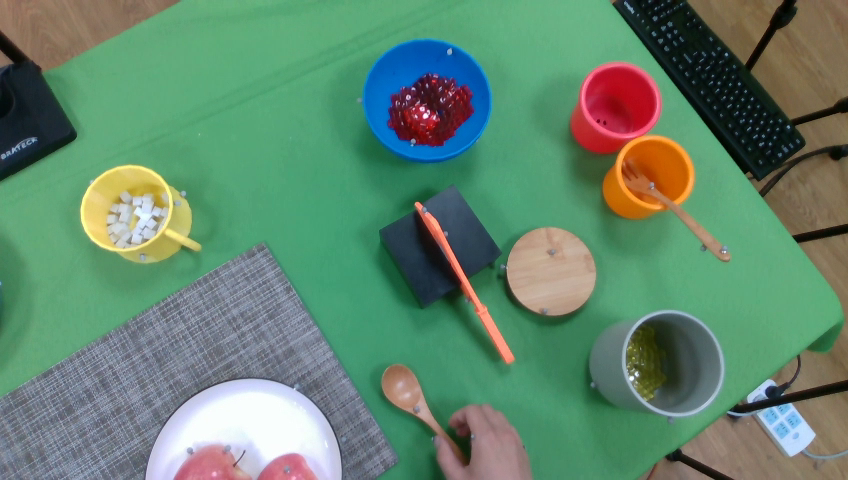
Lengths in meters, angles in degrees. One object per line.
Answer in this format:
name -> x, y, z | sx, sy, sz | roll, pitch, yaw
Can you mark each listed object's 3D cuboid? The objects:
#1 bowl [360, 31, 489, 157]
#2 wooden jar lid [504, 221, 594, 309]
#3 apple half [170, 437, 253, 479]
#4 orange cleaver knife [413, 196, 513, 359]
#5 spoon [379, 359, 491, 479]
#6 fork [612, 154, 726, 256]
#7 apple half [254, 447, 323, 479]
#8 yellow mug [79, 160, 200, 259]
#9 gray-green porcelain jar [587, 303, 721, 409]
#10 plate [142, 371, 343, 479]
bowl -> -0.001, -0.162, 0.730 | 0.151, 0.077, 0.150 | 1, 79, -3
wooden jar lid -> 0.149, 0.031, 0.730 | 0.108, 0.021, 0.108 | 0, 80, -2
apple half -> -0.228, 0.254, 0.636 | 0.074, 0.053, 0.080 | -35, 83, -7
orange cleaver knife -> 0.043, 0.043, 0.690 | 0.012, 0.076, 0.212 | -31, 106, -6
spoon -> 0.017, 0.214, 0.685 | 0.193, 0.022, 0.041 | 48, 55, 7
fork -> 0.273, -0.045, 0.685 | 0.028, 0.019, 0.205 | -13, 36, -9
apple half -> -0.149, 0.266, 0.647 | 0.081, 0.033, 0.081 | 0, 76, -1
yellow mug -> -0.314, -0.026, 0.692 | 0.131, 0.064, 0.099 | 28, 78, 2
gray-green porcelain jar -> 0.242, 0.128, 0.662 | 0.106, 0.127, 0.105 | 1, 78, -3
plate -> -0.192, 0.247, 0.655 | 0.209, 0.038, 0.208 | 1, 79, -4
